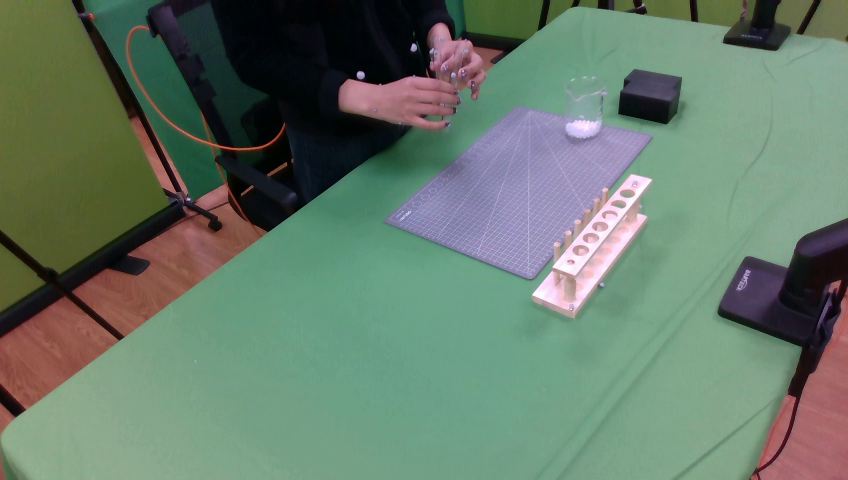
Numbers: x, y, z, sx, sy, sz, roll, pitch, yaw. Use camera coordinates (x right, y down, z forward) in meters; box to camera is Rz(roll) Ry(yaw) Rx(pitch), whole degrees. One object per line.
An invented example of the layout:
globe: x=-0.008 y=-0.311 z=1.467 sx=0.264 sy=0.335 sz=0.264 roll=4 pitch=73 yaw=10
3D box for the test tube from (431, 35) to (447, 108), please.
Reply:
test tube: x=0.025 y=-0.279 z=1.016 sx=0.017 sy=0.151 sz=0.017 roll=-3 pitch=56 yaw=5

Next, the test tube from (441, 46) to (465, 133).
test tube: x=0.048 y=-0.251 z=1.019 sx=0.017 sy=0.150 sz=0.017 roll=8 pitch=31 yaw=-4

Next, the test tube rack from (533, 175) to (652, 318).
test tube rack: x=0.250 y=-0.001 z=0.889 sx=0.066 sy=0.085 sz=0.243 roll=22 pitch=49 yaw=33

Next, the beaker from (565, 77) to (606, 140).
beaker: x=0.304 y=-0.247 z=1.153 sx=0.073 sy=0.101 sz=0.084 roll=15 pitch=47 yaw=27
